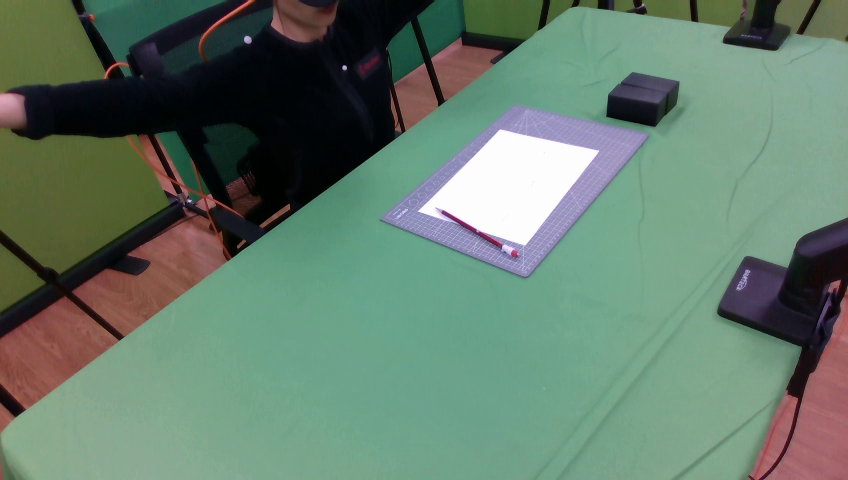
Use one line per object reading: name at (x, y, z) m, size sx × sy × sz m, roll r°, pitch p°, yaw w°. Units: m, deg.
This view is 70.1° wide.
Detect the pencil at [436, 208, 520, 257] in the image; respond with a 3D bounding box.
pencil at (0.083, -0.016, 0.990) m, size 0.012 × 0.012 × 0.192 m, roll -34°, pitch 45°, yaw -26°
